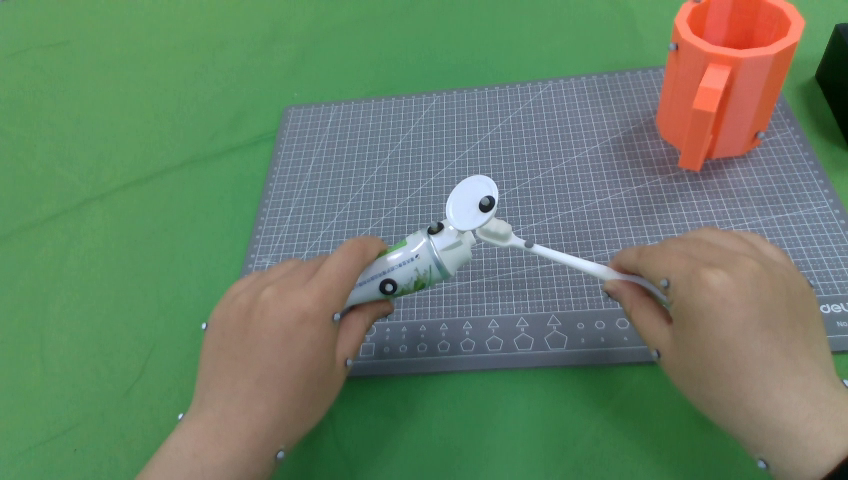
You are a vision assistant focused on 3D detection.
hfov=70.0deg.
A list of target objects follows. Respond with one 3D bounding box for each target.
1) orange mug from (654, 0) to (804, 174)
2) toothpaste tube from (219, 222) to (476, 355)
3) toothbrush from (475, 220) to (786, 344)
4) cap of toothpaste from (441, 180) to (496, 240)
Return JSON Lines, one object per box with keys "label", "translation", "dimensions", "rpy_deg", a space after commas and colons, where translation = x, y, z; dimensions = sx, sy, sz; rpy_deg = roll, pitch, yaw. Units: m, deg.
{"label": "orange mug", "translation": [0.221, -0.113, 0.459], "dimensions": [0.083, 0.102, 0.125], "rpy_deg": [19, 53, 24]}
{"label": "toothpaste tube", "translation": [-0.044, 0.034, 0.371], "dimensions": [0.165, 0.055, 0.034], "rpy_deg": [-27, 71, 8]}
{"label": "toothbrush", "translation": [0.114, 0.022, 0.350], "dimensions": [0.181, 0.017, 0.014], "rpy_deg": [20, 61, 13]}
{"label": "cap of toothpaste", "translation": [0.027, -0.017, 0.344], "dimensions": [0.037, 0.011, 0.037], "rpy_deg": [-21, 53, 32]}
